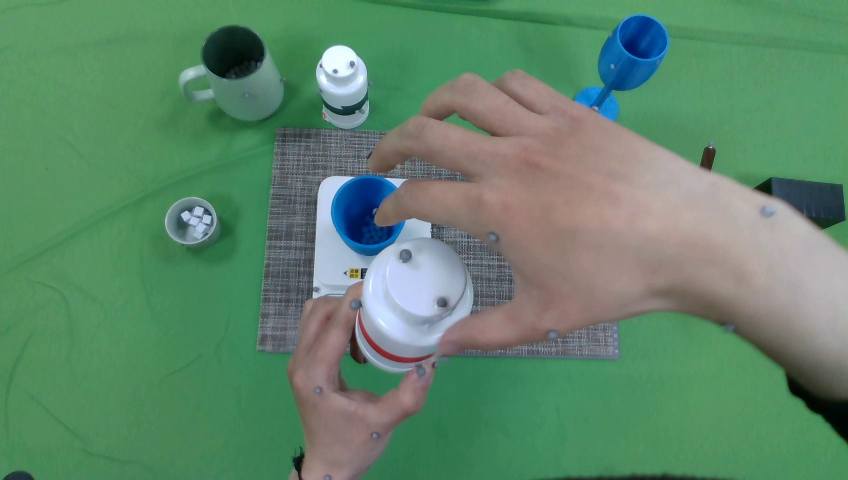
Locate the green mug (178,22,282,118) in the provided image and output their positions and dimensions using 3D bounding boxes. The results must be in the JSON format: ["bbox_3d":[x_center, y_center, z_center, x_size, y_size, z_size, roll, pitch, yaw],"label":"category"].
[{"bbox_3d":[-0.252,-0.212,0.782,0.125,0.105,0.092,-20,78,-8],"label":"green mug"}]

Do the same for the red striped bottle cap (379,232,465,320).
[{"bbox_3d":[-0.001,0.018,0.317,0.044,0.018,0.044,3,69,-7],"label":"red striped bottle cap"}]

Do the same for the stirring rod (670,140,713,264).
[{"bbox_3d":[0.333,-0.042,0.757,0.014,0.177,0.006,7,35,11],"label":"stirring rod"}]

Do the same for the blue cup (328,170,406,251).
[{"bbox_3d":[-0.067,-0.026,0.714,0.093,0.100,0.092,1,78,-6],"label":"blue cup"}]

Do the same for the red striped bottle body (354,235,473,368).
[{"bbox_3d":[-0.008,0.038,0.367,0.063,0.120,0.062,3,69,-9],"label":"red striped bottle body"}]

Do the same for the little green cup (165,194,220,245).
[{"bbox_3d":[-0.289,-0.023,0.766,0.061,0.039,0.061,1,75,-5],"label":"little green cup"}]

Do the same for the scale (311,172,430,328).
[{"bbox_3d":[-0.066,0.011,0.772,0.149,0.031,0.200,1,76,-3],"label":"scale"}]

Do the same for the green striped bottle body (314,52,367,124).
[{"bbox_3d":[-0.107,-0.203,0.782,0.063,0.119,0.063,1,75,-3],"label":"green striped bottle body"}]

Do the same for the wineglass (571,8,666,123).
[{"bbox_3d":[0.245,-0.219,0.782,0.074,0.173,0.073,1,75,-3],"label":"wineglass"}]

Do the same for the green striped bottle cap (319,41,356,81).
[{"bbox_3d":[-0.105,-0.217,0.731,0.044,0.020,0.044,1,75,-4],"label":"green striped bottle cap"}]

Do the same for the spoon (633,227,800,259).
[{"bbox_3d":[0.351,0.009,0.745,0.022,0.192,0.041,23,79,-43],"label":"spoon"}]
